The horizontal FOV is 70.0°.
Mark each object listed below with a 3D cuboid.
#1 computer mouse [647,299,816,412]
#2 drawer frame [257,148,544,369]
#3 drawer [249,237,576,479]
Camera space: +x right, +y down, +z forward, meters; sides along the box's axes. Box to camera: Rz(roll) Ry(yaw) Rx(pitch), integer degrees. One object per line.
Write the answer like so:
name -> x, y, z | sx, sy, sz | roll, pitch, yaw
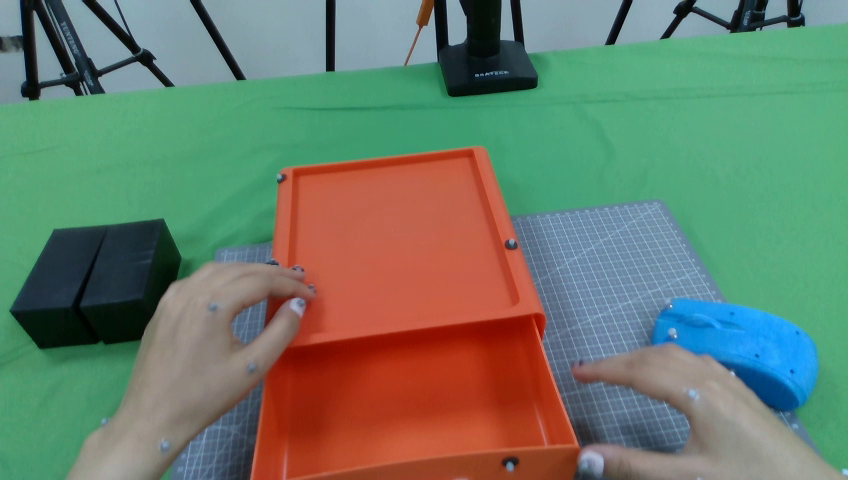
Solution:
computer mouse -> 0.235, 0.082, 0.465 | 0.116, 0.041, 0.062 | 19, 50, 28
drawer frame -> -0.026, 0.022, 0.512 | 0.202, 0.083, 0.211 | -8, 43, -4
drawer -> -0.015, 0.088, 0.444 | 0.194, 0.074, 0.209 | -7, 43, -3
